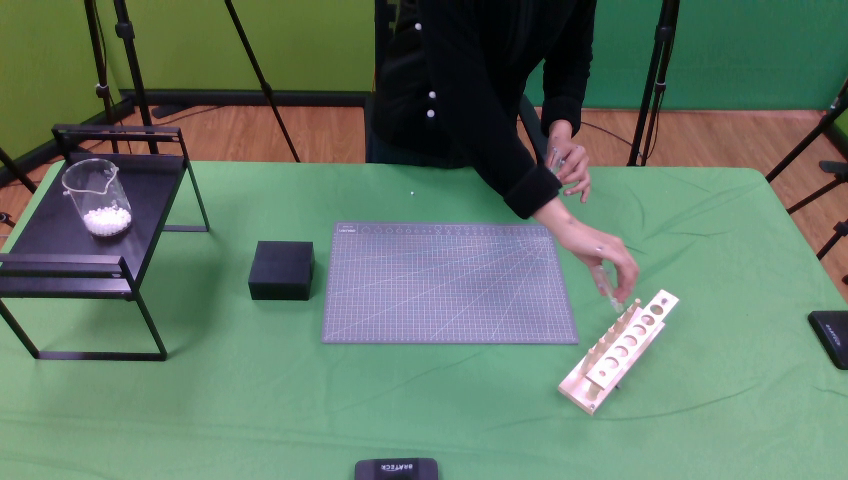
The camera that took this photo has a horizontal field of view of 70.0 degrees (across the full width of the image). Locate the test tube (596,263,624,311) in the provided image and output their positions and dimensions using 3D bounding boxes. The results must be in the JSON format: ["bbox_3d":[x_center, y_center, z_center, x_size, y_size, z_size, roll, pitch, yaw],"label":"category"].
[{"bbox_3d":[0.285,0.074,0.926,0.017,0.151,0.017,-14,55,22],"label":"test tube"}]

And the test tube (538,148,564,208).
[{"bbox_3d":[0.226,-0.107,1.084,0.017,0.151,0.017,2,54,-2],"label":"test tube"}]

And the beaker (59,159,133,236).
[{"bbox_3d":[-0.488,-0.060,0.914,0.074,0.101,0.083,-35,58,-30],"label":"beaker"}]

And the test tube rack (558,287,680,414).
[{"bbox_3d":[0.327,0.170,1.009,0.066,0.085,0.242,35,54,27],"label":"test tube rack"}]
